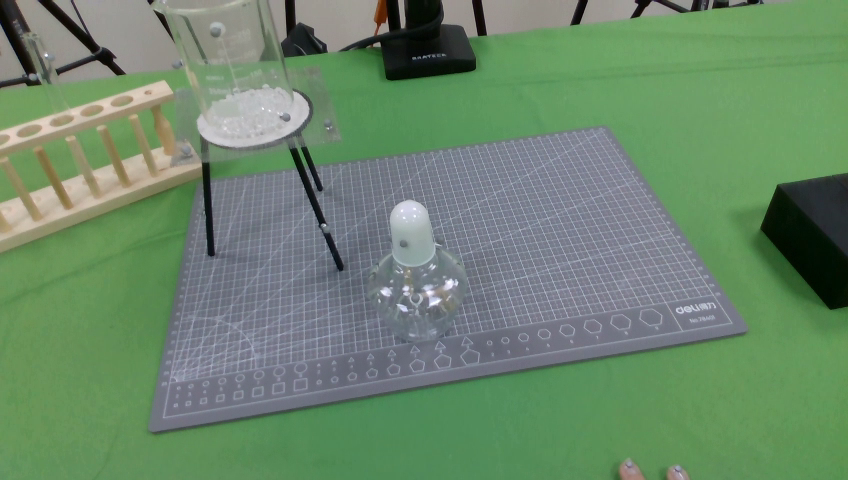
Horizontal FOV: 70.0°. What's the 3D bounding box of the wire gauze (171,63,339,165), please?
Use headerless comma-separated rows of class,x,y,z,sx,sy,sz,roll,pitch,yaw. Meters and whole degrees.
wire gauze,-0.136,-0.101,0.479,0.125,0.011,0.120,-14,42,-6

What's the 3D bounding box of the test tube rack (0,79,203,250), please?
test tube rack,-0.356,-0.073,0.602,0.242,0.086,0.066,-25,47,-21

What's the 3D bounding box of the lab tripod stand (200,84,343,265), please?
lab tripod stand,-0.132,-0.054,0.525,0.148,0.133,0.147,-3,45,3

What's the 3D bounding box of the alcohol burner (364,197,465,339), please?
alcohol burner,-0.008,0.018,0.453,0.078,0.120,0.077,-2,41,2

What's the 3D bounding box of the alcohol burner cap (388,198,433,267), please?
alcohol burner cap,-0.011,-0.008,0.428,0.034,0.048,0.033,-3,45,3

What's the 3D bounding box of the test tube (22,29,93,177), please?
test tube,-0.352,-0.127,0.586,0.017,0.151,0.017,0,37,0

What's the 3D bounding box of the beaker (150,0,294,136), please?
beaker,-0.142,-0.134,0.443,0.084,0.101,0.073,-7,43,-1
